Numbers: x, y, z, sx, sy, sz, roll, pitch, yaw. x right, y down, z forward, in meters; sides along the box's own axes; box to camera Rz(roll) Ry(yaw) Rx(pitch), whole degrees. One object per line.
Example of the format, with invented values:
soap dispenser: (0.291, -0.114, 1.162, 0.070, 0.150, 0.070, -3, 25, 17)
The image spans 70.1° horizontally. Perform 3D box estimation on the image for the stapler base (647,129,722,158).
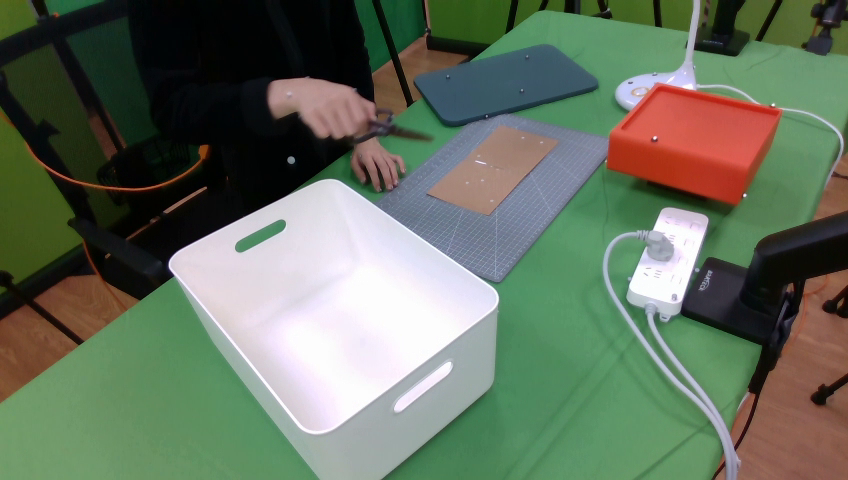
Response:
stapler base: (0.439, -0.167, 1.023, 0.131, 0.024, 0.041, -17, 25, -15)

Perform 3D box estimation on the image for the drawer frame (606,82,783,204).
drawer frame: (0.441, -0.167, 0.995, 0.212, 0.083, 0.202, 23, 48, 30)

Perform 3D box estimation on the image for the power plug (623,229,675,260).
power plug: (0.327, 0.007, 0.878, 0.072, 0.053, 0.035, 25, 51, 33)

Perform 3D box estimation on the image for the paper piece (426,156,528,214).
paper piece: (0.095, -0.103, 1.089, 0.134, 0.004, 0.136, 23, 48, 30)

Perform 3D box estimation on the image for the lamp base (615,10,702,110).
lamp base: (0.484, -0.364, 1.211, 0.180, 0.181, 0.159, -15, 41, -14)

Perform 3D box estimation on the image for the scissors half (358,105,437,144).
scissors half: (-0.033, -0.145, 0.765, 0.040, 0.013, 0.173, -34, 38, -15)

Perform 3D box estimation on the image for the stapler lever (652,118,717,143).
stapler lever: (0.436, -0.192, 1.014, 0.118, 0.040, 0.026, -15, 25, -16)

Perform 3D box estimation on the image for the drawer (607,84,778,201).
drawer: (0.438, -0.167, 0.995, 0.210, 0.073, 0.195, 23, 48, 30)

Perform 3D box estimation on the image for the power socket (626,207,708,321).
power socket: (0.360, 0.026, 0.886, 0.072, 0.033, 0.227, 16, 46, 26)

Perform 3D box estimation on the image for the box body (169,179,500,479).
box body: (-0.110, 0.103, 0.761, 0.255, 0.161, 0.361, -33, 46, -27)

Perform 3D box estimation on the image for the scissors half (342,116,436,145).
scissors half: (-0.048, -0.133, 0.758, 0.173, 0.013, 0.040, 17, 57, 42)

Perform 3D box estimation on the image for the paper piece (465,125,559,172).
paper piece: (0.171, -0.177, 1.168, 0.137, 0.009, 0.136, 21, 44, 31)

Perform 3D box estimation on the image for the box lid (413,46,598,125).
box lid: (0.177, -0.360, 1.382, 0.373, 0.015, 0.261, -16, 40, -11)
